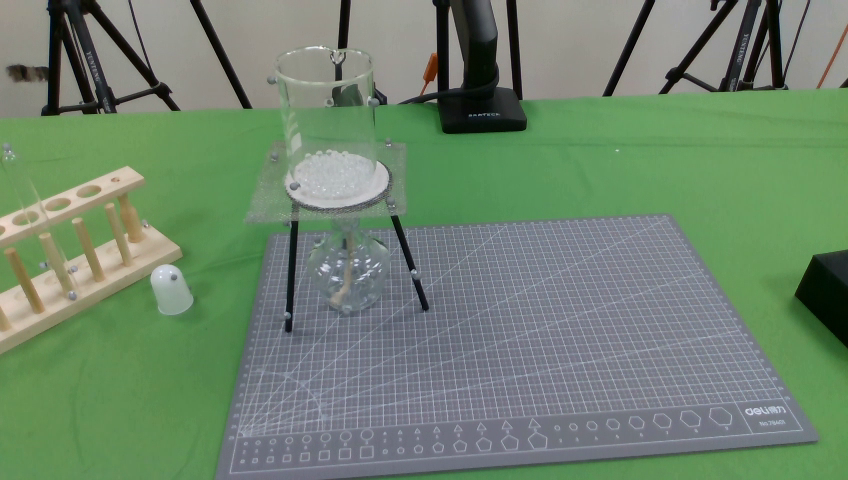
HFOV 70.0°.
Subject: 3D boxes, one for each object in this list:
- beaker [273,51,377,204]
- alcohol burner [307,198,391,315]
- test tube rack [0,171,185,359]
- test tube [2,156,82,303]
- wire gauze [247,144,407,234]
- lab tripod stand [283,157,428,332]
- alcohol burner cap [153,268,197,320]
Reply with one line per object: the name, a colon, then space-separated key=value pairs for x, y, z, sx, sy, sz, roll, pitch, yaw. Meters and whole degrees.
beaker: x=-0.072 y=-0.087 z=0.473 sx=0.074 sy=0.101 sz=0.083 roll=4 pitch=37 yaw=3
alcohol burner: x=-0.069 y=0.011 z=0.550 sx=0.078 sy=0.120 sz=0.077 roll=1 pitch=39 yaw=-1
test tube rack: x=-0.354 y=0.031 z=0.553 sx=0.066 sy=0.086 sz=0.242 roll=28 pitch=46 yaw=32
test tube: x=-0.330 y=-0.005 z=0.526 sx=0.017 sy=0.151 sz=0.017 roll=0 pitch=36 yaw=0
wire gauze: x=-0.075 y=-0.047 z=0.501 sx=0.121 sy=0.011 sz=0.124 roll=-1 pitch=40 yaw=-2
lab tripod stand: x=-0.066 y=0.004 z=0.543 sx=0.148 sy=0.132 sz=0.147 roll=1 pitch=36 yaw=0
alcohol burner cap: x=-0.235 y=0.048 z=0.567 sx=0.034 sy=0.048 sz=0.033 roll=0 pitch=38 yaw=0
